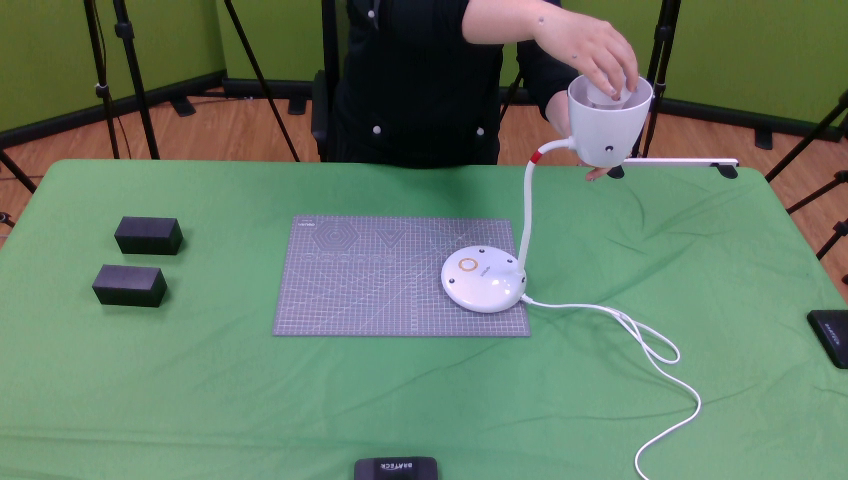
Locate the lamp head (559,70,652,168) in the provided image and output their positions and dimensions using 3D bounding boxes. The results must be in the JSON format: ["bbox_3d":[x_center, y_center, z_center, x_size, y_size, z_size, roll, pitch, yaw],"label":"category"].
[{"bbox_3d":[0.252,-0.163,0.860,0.112,0.123,0.111,0,43,0],"label":"lamp head"}]

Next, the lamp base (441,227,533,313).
[{"bbox_3d":[0.126,0.022,1.071,0.179,0.181,0.160,23,49,14],"label":"lamp base"}]

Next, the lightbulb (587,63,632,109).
[{"bbox_3d":[0.255,-0.191,0.841,0.059,0.108,0.059,-5,38,4],"label":"lightbulb"}]
